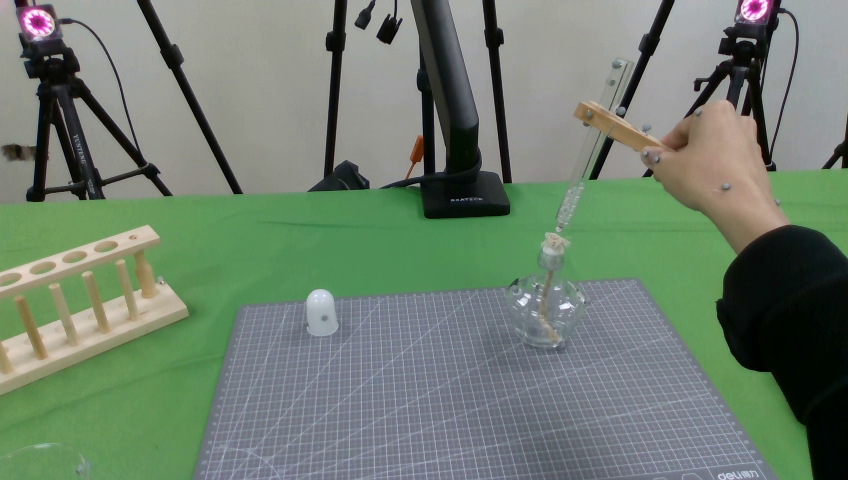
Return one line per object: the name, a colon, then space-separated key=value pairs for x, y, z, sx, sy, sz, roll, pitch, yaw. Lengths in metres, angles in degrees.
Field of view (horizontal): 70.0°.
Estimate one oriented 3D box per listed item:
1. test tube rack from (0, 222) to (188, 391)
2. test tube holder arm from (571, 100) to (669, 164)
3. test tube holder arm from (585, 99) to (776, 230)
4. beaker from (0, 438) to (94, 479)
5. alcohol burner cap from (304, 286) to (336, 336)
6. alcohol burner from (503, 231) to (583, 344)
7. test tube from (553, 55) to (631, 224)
test tube rack: x=-0.365 y=0.070 z=0.578 sx=0.243 sy=0.086 sz=0.066 roll=-24 pitch=39 yaw=-33
test tube holder arm: x=0.158 y=-0.088 z=0.490 sx=0.087 sy=0.015 sz=0.010 roll=38 pitch=38 yaw=26
test tube holder arm: x=0.191 y=-0.064 z=0.472 sx=0.013 sy=0.015 sz=0.176 roll=-15 pitch=46 yaw=-40
beaker: x=-0.237 y=0.186 z=0.377 sx=0.084 sy=0.101 sz=0.073 roll=1 pitch=32 yaw=3
alcohol burner cap: x=-0.107 y=0.069 z=0.614 sx=0.034 sy=0.048 sz=0.033 roll=0 pitch=32 yaw=1
alcohol burner: x=0.118 y=0.042 z=0.588 sx=0.078 sy=0.120 sz=0.077 roll=1 pitch=32 yaw=-1
test tube: x=0.140 y=-0.081 z=0.515 sx=0.017 sy=0.151 sz=0.017 roll=13 pitch=26 yaw=-6
